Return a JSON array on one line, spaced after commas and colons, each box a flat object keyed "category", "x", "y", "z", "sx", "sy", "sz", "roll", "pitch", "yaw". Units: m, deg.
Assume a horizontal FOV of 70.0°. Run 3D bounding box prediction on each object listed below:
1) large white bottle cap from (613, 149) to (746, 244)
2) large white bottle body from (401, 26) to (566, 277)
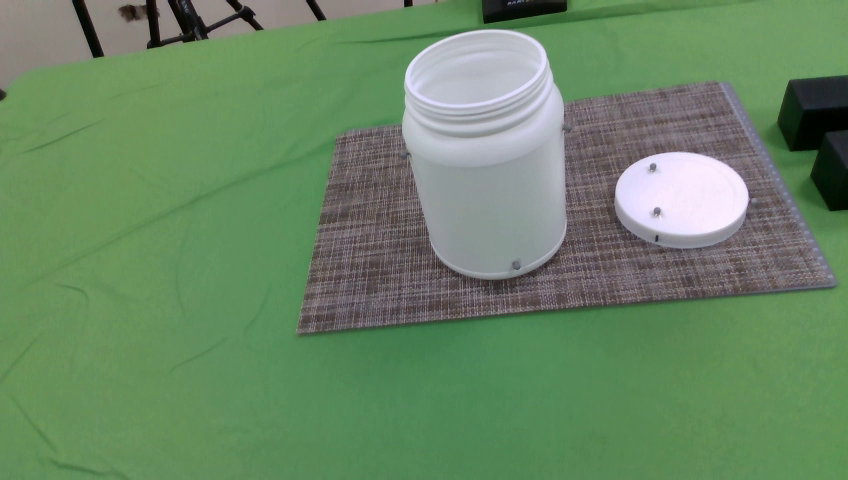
[{"category": "large white bottle cap", "x": 0.236, "y": -0.043, "z": 0.564, "sx": 0.115, "sy": 0.018, "sz": 0.113, "roll": -7, "pitch": 46, "yaw": 8}, {"category": "large white bottle body", "x": 0.054, "y": -0.071, "z": 0.519, "sx": 0.130, "sy": 0.186, "sz": 0.129, "roll": -7, "pitch": 46, "yaw": 8}]
